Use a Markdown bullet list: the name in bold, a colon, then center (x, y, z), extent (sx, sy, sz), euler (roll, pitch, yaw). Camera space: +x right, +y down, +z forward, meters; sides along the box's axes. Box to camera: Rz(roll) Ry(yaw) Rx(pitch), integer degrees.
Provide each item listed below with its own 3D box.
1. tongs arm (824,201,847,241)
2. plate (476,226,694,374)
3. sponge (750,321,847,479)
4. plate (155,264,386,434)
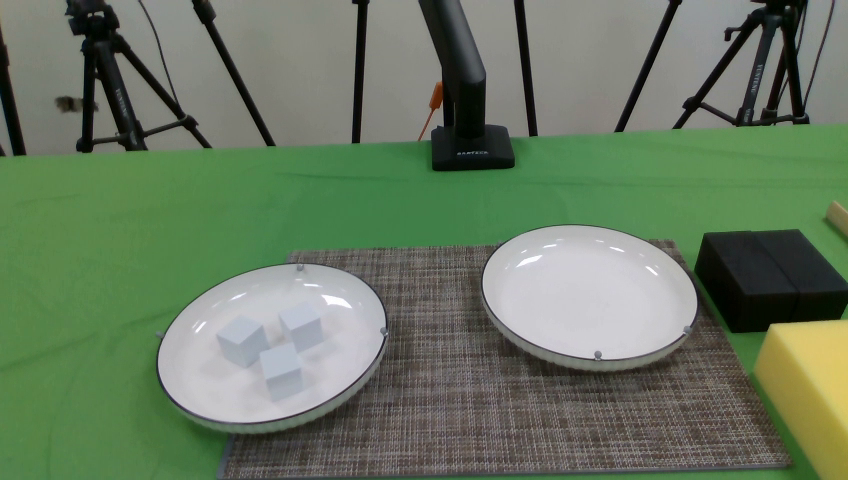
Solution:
- **tongs arm**: center (0.514, 0.074, 0.581), extent (0.028, 0.028, 0.383), euler (-4, 36, -6)
- **plate**: center (0.156, 0.060, 0.607), extent (0.208, 0.039, 0.205), euler (-1, 36, 1)
- **sponge**: center (0.357, 0.153, 0.454), extent (0.118, 0.061, 0.204), euler (-4, 36, -2)
- **plate**: center (-0.138, 0.100, 0.568), extent (0.209, 0.038, 0.207), euler (-1, 35, 1)
